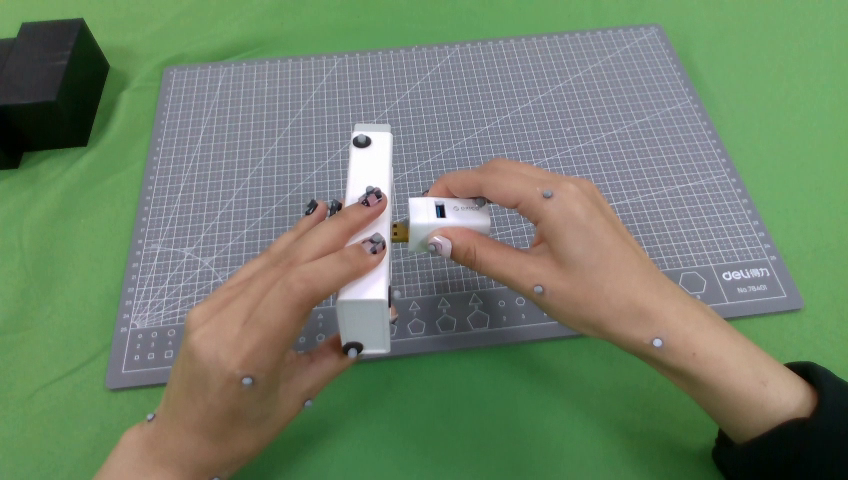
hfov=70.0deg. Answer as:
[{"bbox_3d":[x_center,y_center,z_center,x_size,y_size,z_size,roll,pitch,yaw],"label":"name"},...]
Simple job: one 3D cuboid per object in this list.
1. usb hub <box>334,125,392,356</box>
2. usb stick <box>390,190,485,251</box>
[{"bbox_3d":[-0.030,-0.004,0.323,0.025,0.050,0.124,-1,50,-2],"label":"usb hub"},{"bbox_3d":[0.003,-0.011,0.335,0.059,0.027,0.021,5,47,7],"label":"usb stick"}]
